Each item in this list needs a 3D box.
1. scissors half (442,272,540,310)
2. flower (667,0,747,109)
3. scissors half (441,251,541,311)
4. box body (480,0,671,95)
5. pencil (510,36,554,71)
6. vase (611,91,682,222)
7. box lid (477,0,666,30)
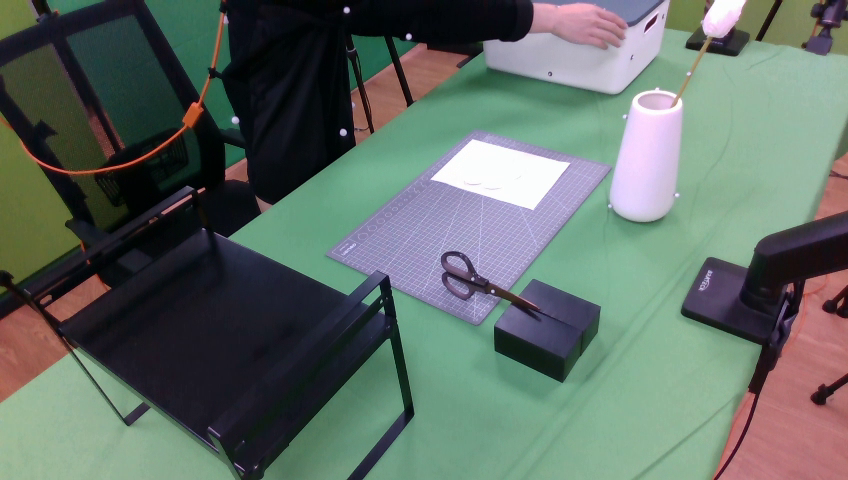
[{"bbox_3d":[0.089,0.074,0.832,0.013,0.040,0.173,-24,23,-38],"label":"scissors half"},{"bbox_3d":[0.354,-0.187,0.879,0.038,0.362,0.044,31,48,14],"label":"flower"},{"bbox_3d":[0.087,0.056,0.824,0.173,0.040,0.013,29,44,36],"label":"scissors half"},{"bbox_3d":[0.339,-0.480,1.381,0.361,0.161,0.255,22,48,30],"label":"box body"},{"bbox_3d":[0.263,-0.453,1.469,0.012,0.012,0.194,25,52,32],"label":"pencil"},{"bbox_3d":[0.348,-0.125,0.935,0.098,0.201,0.097,-3,40,3],"label":"vase"},{"bbox_3d":[0.332,-0.535,1.333,0.368,0.015,0.264,22,48,31],"label":"box lid"}]
